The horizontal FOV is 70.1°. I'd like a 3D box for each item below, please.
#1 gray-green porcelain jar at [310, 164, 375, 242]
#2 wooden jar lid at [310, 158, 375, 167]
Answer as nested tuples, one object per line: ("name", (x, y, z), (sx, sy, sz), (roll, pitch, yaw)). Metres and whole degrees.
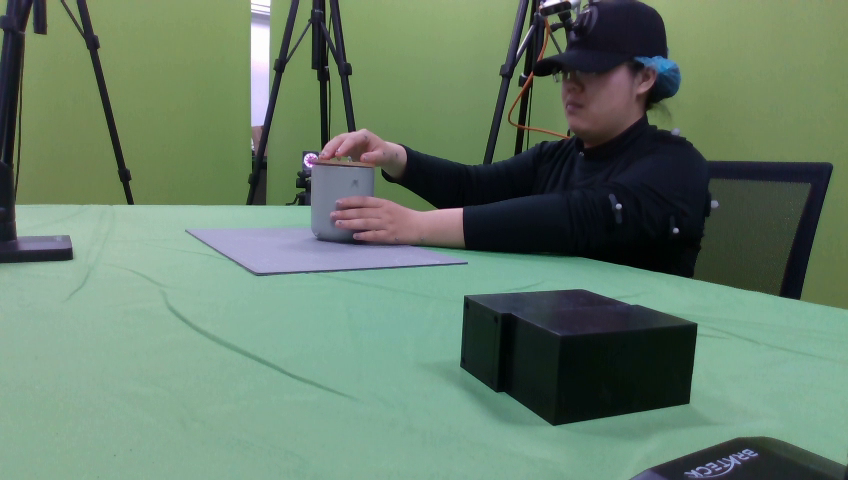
("gray-green porcelain jar", (-0.139, -0.064, 1.025), (0.106, 0.126, 0.106), (3, 8, 0))
("wooden jar lid", (-0.136, -0.125, 1.017), (0.108, 0.020, 0.108), (4, 8, 0))
